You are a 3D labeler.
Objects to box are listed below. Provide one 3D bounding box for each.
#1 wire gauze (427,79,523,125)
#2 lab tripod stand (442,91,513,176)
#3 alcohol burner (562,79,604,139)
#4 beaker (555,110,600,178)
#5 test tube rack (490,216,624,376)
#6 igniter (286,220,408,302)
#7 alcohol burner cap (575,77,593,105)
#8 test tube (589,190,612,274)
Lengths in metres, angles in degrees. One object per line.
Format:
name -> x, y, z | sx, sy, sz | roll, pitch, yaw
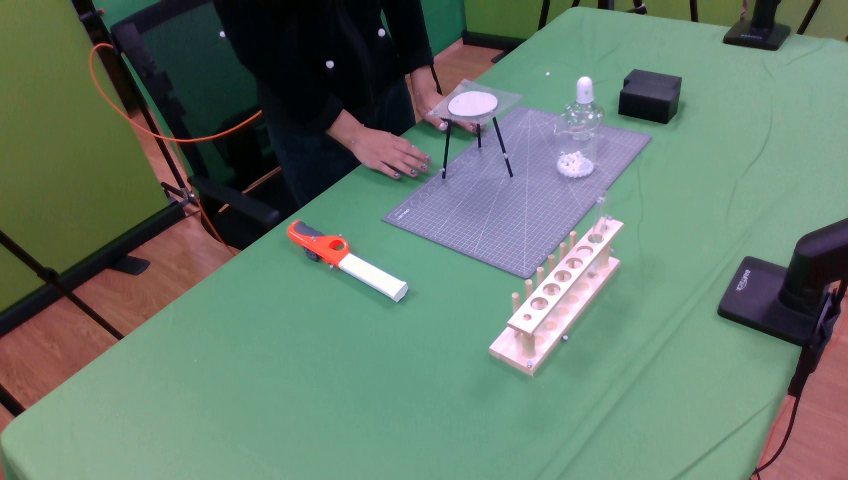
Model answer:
wire gauze -> 0.088, -0.239, 1.050 | 0.120, 0.011, 0.125 | 22, 50, 30
lab tripod stand -> 0.096, -0.190, 1.096 | 0.148, 0.132, 0.147 | -4, 40, 4
alcohol burner -> 0.303, -0.253, 1.147 | 0.078, 0.119, 0.077 | -4, 41, 4
beaker -> 0.266, -0.165, 1.062 | 0.084, 0.101, 0.073 | -24, 42, -16
test tube rack -> 0.184, 0.064, 0.822 | 0.066, 0.085, 0.243 | 24, 50, 33
igniter -> -0.134, 0.028, 0.968 | 0.274, 0.025, 0.057 | 27, 61, 35
alcohol burner cap -> 0.297, -0.279, 1.123 | 0.034, 0.048, 0.033 | -8, 41, 8
test tube -> 0.237, -0.006, 0.817 | 0.017, 0.151, 0.017 | -4, 45, 4
